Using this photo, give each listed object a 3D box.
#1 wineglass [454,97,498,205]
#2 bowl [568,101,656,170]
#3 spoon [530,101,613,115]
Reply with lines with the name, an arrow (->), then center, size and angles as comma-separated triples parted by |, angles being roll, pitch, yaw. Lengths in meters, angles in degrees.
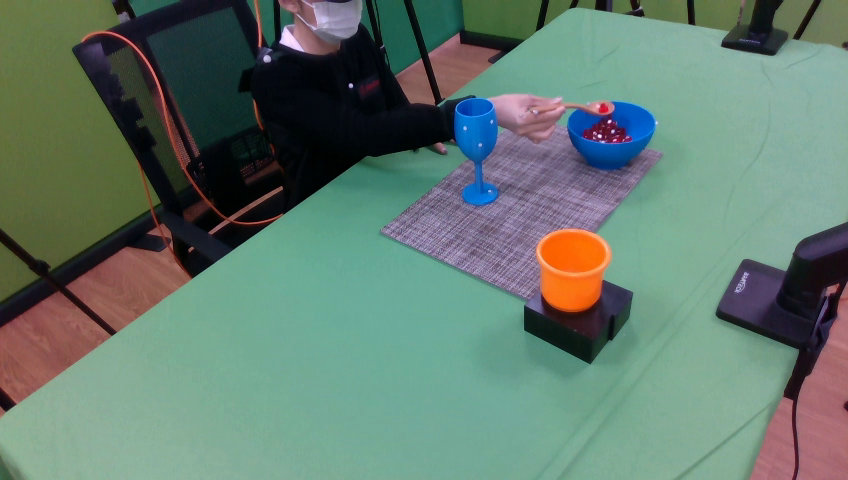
wineglass -> 0.090, -0.145, 1.009 | 0.074, 0.173, 0.073 | -5, 40, 4
bowl -> 0.332, -0.179, 1.084 | 0.151, 0.077, 0.150 | -4, 40, 4
spoon -> 0.253, -0.227, 1.033 | 0.195, 0.021, 0.041 | -7, 44, -34
